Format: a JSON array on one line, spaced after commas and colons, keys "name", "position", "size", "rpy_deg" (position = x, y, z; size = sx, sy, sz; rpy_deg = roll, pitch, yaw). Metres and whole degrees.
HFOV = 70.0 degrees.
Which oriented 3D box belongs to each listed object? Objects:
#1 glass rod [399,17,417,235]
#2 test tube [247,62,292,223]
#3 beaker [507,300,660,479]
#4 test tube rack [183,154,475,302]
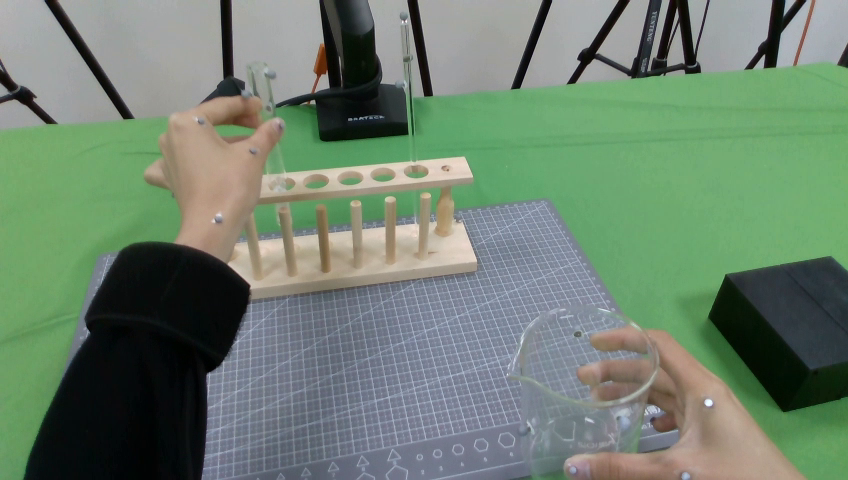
[{"name": "glass rod", "position": [-0.013, -0.090, 0.526], "size": [0.008, 0.201, 0.008], "rpy_deg": [-2, 34, 1]}, {"name": "test tube", "position": [-0.125, -0.073, 0.495], "size": [0.017, 0.151, 0.017], "rpy_deg": [1, 41, 0]}, {"name": "beaker", "position": [0.090, 0.098, 0.361], "size": [0.084, 0.101, 0.073], "rpy_deg": [-11, 37, -6]}, {"name": "test tube rack", "position": [-0.078, -0.012, 0.536], "size": [0.243, 0.086, 0.066], "rpy_deg": [-7, 41, -9]}]
